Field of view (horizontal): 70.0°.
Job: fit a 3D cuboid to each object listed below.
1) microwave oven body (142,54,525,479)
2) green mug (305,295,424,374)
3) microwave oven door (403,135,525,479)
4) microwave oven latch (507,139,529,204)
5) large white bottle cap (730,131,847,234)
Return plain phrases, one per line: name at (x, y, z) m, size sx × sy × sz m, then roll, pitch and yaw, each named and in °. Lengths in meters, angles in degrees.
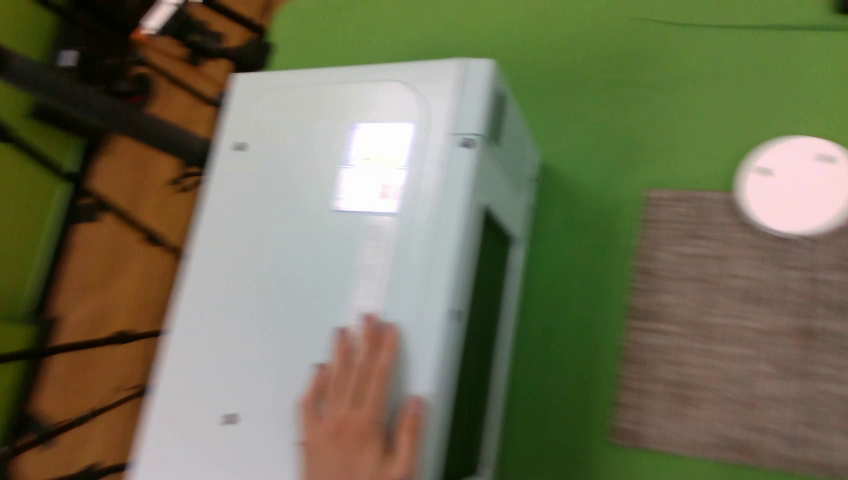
microwave oven body at (-0.080, 0.058, 0.688) m, size 0.324 × 0.262 × 0.440 m, roll 3°, pitch 78°, yaw 22°
green mug at (-0.062, 0.105, 0.694) m, size 0.125 × 0.105 × 0.092 m, roll -11°, pitch 77°, yaw 12°
microwave oven door at (0.048, 0.102, 0.621) m, size 0.039 × 0.246 × 0.354 m, roll 2°, pitch 78°, yaw 22°
microwave oven latch at (0.114, -0.085, 0.754) m, size 0.030 × 0.030 × 0.079 m, roll 3°, pitch 79°, yaw 22°
large white bottle cap at (0.399, -0.063, 0.662) m, size 0.114 × 0.018 × 0.114 m, roll -5°, pitch 74°, yaw 20°
